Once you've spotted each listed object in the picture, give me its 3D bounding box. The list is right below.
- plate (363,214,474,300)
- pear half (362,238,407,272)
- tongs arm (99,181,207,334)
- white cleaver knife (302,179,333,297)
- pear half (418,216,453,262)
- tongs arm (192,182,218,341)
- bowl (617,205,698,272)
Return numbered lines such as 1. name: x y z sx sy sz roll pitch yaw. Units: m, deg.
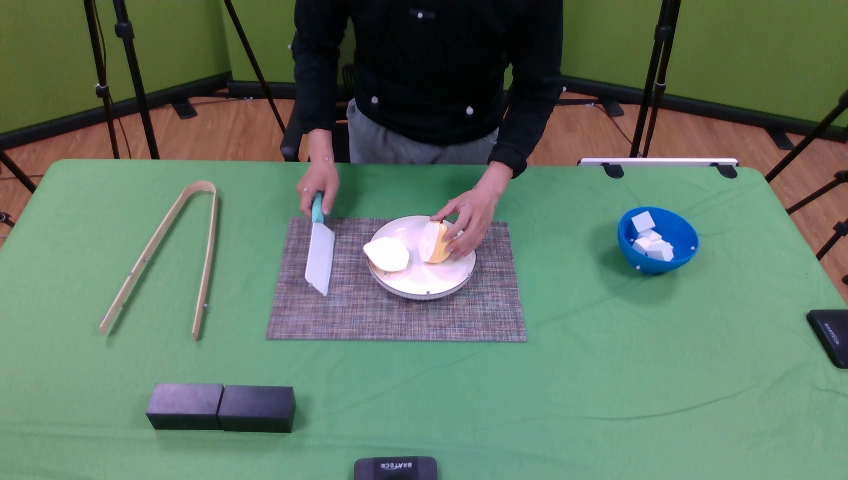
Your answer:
1. plate: -0.010 0.036 1.146 0.208 0.039 0.206 2 46 -2
2. pear half: -0.077 0.032 1.137 0.088 0.031 0.070 17 47 -13
3. tongs arm: -0.493 0.018 1.132 0.051 0.026 0.382 7 45 0
4. white cleaver knife: -0.200 -0.012 1.164 0.021 0.066 0.284 -25 43 23
5. pear half: 0.031 -0.007 1.129 0.056 0.110 0.076 -2 55 -23
6. tongs arm: -0.413 0.025 1.140 0.028 0.028 0.385 -5 47 -7
7. bowl: 0.442 0.010 1.181 0.151 0.077 0.150 2 46 -2
